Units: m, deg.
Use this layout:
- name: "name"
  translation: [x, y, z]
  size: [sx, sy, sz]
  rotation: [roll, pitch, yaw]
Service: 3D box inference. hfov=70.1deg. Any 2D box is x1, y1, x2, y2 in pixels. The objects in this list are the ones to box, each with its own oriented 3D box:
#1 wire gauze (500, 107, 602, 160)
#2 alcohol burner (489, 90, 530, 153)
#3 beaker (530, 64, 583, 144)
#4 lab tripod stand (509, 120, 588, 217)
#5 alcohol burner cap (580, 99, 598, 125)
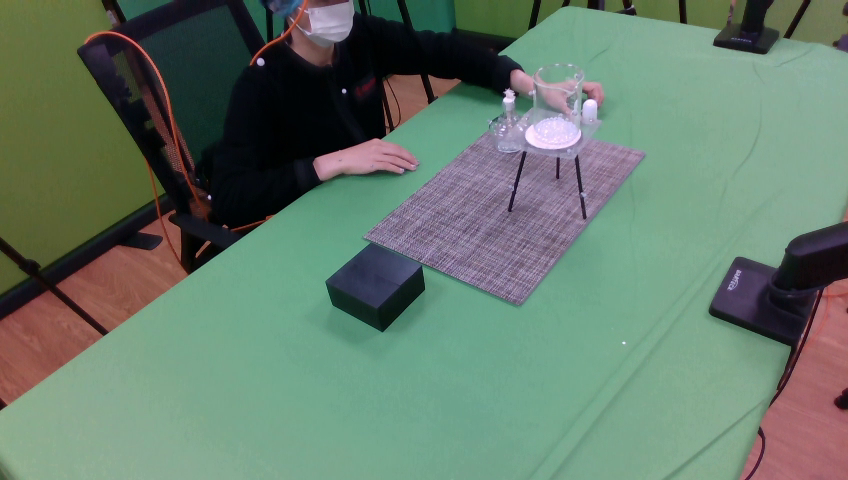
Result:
- name: "wire gauze"
  translation: [0.199, -0.166, 0.945]
  size: [0.120, 0.011, 0.125]
  rotation: [17, 50, 28]
- name: "alcohol burner"
  translation: [0.160, -0.226, 1.136]
  size: [0.078, 0.119, 0.077]
  rotation: [-6, 41, 5]
- name: "beaker"
  translation: [0.201, -0.201, 0.909]
  size: [0.074, 0.101, 0.083]
  rotation: [-19, 43, -10]
- name: "lab tripod stand"
  translation: [0.207, -0.114, 0.983]
  size: [0.148, 0.132, 0.147]
  rotation: [-5, 42, 5]
- name: "alcohol burner cap"
  translation: [0.331, -0.258, 1.209]
  size: [0.034, 0.048, 0.033]
  rotation: [-4, 40, 4]
